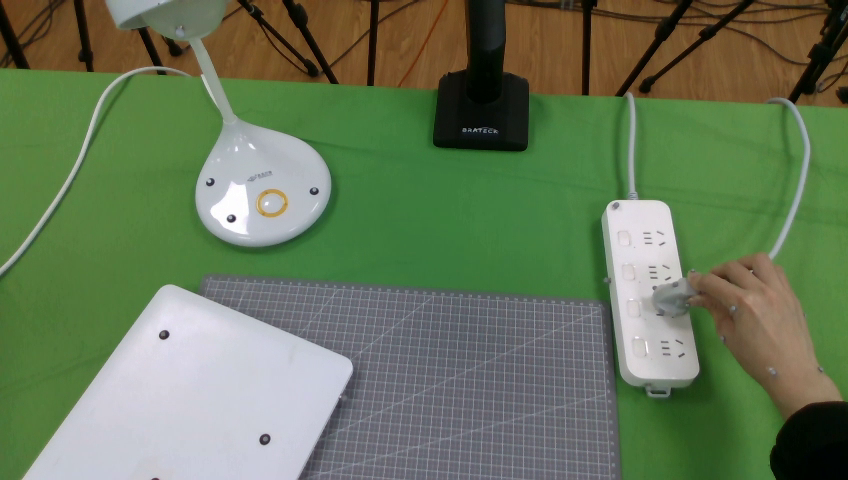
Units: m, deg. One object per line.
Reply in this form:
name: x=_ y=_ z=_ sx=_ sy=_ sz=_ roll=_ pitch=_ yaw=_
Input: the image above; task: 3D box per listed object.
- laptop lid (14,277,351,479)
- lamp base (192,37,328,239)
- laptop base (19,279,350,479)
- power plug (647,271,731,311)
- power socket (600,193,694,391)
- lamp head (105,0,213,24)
laptop lid: x=-0.247 y=0.217 z=0.559 sx=0.241 sy=0.013 sz=0.355 roll=23 pitch=64 yaw=12
lamp base: x=-0.206 y=-0.117 z=0.666 sx=0.160 sy=0.182 sz=0.177 roll=-31 pitch=61 yaw=-15
laptop base: x=-0.249 y=0.223 z=0.570 sx=0.235 sy=0.023 sz=0.352 roll=21 pitch=64 yaw=10
power plug: x=0.260 y=0.055 z=0.601 sx=0.072 sy=0.053 sz=0.035 roll=9 pitch=58 yaw=10
power socket: x=0.233 y=0.045 z=0.645 sx=0.072 sy=0.033 sz=0.225 roll=2 pitch=60 yaw=2
lamp head: x=-0.176 y=-0.218 z=0.400 sx=0.112 sy=0.111 sz=0.123 roll=-24 pitch=106 yaw=-11
